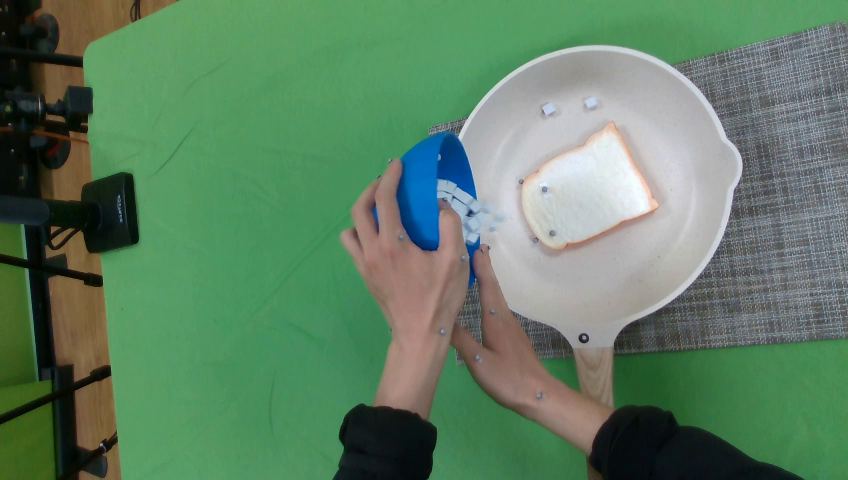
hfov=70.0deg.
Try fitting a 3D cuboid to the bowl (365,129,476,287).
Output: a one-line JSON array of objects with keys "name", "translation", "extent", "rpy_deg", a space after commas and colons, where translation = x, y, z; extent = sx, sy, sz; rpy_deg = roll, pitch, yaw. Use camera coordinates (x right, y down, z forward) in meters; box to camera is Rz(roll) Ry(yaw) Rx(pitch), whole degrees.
[{"name": "bowl", "translation": [-0.006, -0.026, 0.582], "extent": [0.076, 0.152, 0.151], "rpy_deg": [-7, 86, 18]}]

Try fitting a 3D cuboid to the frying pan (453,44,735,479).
[{"name": "frying pan", "translation": [0.165, 0.046, 0.631], "extent": [0.305, 0.103, 0.485], "rpy_deg": [-6, 78, 26]}]

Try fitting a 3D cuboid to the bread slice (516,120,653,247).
[{"name": "bread slice", "translation": [0.171, -0.052, 0.675], "extent": [0.134, 0.018, 0.106], "rpy_deg": [-31, 76, 18]}]
